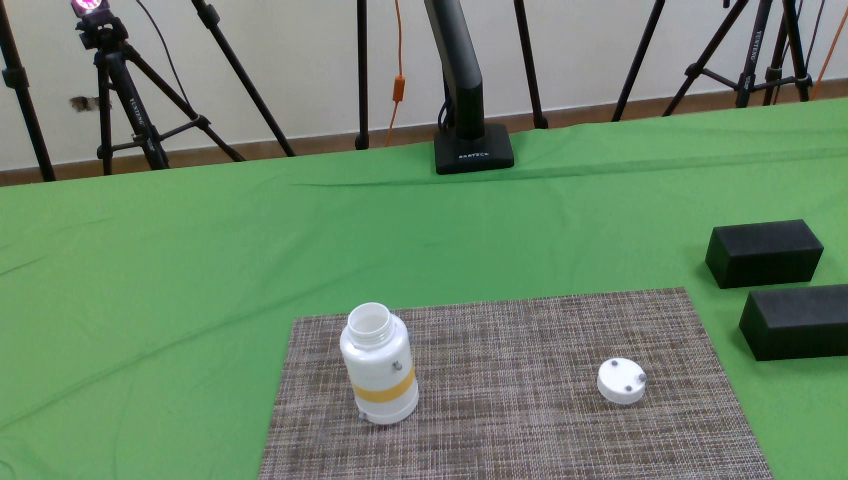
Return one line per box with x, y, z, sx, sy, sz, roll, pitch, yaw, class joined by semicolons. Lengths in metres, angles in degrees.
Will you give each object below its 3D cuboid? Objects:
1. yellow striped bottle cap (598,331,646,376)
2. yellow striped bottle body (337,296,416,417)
0.189;0.109;0.580;0.044;0.019;0.044;-7;32;5;yellow striped bottle cap
-0.045;0.107;0.572;0.063;0.121;0.062;-5;40;4;yellow striped bottle body
